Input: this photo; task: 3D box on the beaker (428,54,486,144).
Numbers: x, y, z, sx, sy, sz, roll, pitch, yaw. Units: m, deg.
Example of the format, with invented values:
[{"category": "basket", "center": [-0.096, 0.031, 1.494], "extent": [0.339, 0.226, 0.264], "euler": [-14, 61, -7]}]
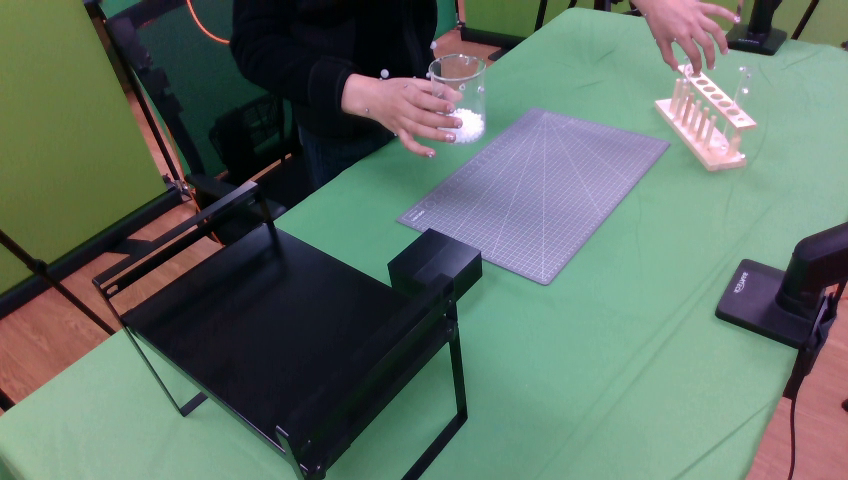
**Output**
[{"category": "beaker", "center": [0.048, -0.187, 0.807], "extent": [0.073, 0.100, 0.084], "euler": [12, 44, 20]}]

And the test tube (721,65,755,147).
[{"category": "test tube", "center": [0.534, -0.226, 1.032], "extent": [0.017, 0.151, 0.017], "euler": [-2, 40, 2]}]

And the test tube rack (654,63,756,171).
[{"category": "test tube rack", "center": [0.511, -0.233, 1.120], "extent": [0.067, 0.085, 0.241], "euler": [-9, 41, -1]}]

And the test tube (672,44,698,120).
[{"category": "test tube", "center": [0.484, -0.290, 1.122], "extent": [0.017, 0.151, 0.017], "euler": [-2, 41, 2]}]
